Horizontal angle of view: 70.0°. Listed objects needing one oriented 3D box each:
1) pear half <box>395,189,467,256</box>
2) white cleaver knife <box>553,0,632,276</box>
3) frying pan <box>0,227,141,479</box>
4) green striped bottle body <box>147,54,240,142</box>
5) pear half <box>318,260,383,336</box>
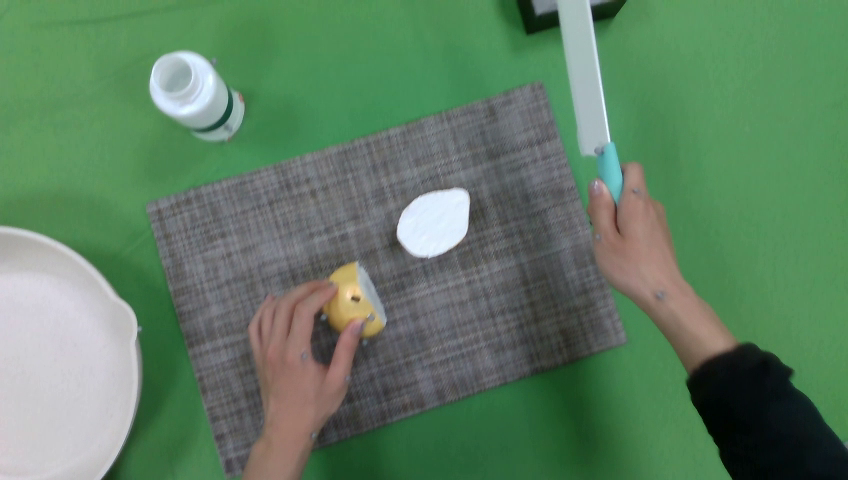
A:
[{"bbox_3d":[0.011,-0.017,0.643,0.088,0.031,0.070,-41,72,-16],"label":"pear half"},{"bbox_3d":[0.152,-0.102,0.549,0.021,0.065,0.288,-15,105,-8],"label":"white cleaver knife"},{"bbox_3d":[-0.380,0.227,0.581,0.307,0.103,0.485,-22,79,-3],"label":"frying pan"},{"bbox_3d":[-0.229,-0.142,0.603,0.063,0.119,0.063,0,85,-2],"label":"green striped bottle body"},{"bbox_3d":[-0.078,0.062,0.597,0.056,0.110,0.076,-31,83,-3],"label":"pear half"}]
